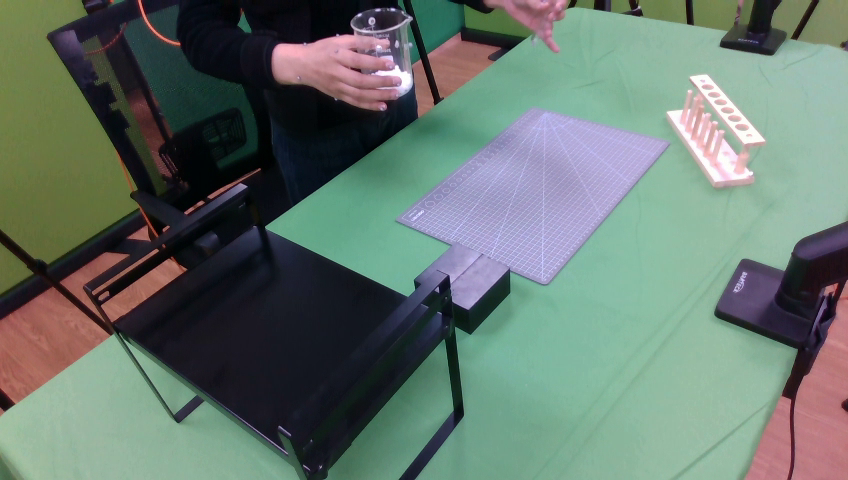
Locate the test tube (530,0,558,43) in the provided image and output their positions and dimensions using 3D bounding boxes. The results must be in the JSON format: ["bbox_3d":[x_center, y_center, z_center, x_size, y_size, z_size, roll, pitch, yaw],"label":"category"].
[{"bbox_3d":[0.213,-0.396,1.026,0.017,0.150,0.017,8,56,-12],"label":"test tube"}]

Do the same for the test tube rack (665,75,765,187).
[{"bbox_3d":[0.512,-0.201,1.082,0.067,0.085,0.241,-6,41,2],"label":"test tube rack"}]

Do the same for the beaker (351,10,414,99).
[{"bbox_3d":[-0.051,-0.253,0.827,0.084,0.101,0.073,-14,43,-8],"label":"beaker"}]
